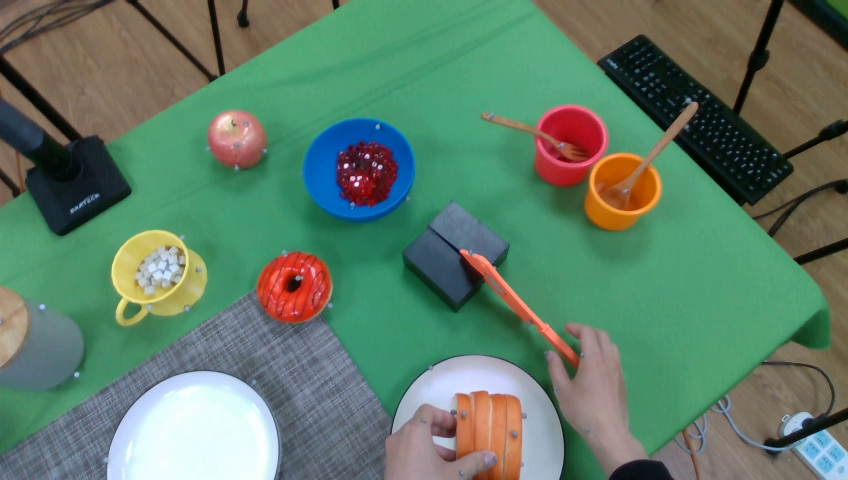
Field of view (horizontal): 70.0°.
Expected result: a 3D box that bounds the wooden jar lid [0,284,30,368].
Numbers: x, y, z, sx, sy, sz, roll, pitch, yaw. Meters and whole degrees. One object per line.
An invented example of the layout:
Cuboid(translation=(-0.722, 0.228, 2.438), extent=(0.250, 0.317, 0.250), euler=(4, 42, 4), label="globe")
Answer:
Cuboid(translation=(-0.497, 0.103, 0.684), extent=(0.108, 0.021, 0.107), euler=(-1, 69, 3), label="wooden jar lid")

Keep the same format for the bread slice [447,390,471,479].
Cuboid(translation=(0.038, 0.220, 0.682), extent=(0.018, 0.135, 0.106), euler=(2, 66, -1), label="bread slice")

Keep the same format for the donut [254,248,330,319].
Cuboid(translation=(-0.174, 0.058, 0.798), extent=(0.099, 0.048, 0.098), euler=(0, 70, 1), label="donut")

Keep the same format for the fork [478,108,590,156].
Cuboid(translation=(0.152, -0.144, 0.812), extent=(0.209, 0.018, 0.028), euler=(12, 61, -38), label="fork")

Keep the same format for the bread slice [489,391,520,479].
Cuboid(translation=(0.090, 0.223, 0.679), extent=(0.019, 0.132, 0.104), euler=(4, 71, 0), label="bread slice")

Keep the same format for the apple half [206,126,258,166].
Cuboid(translation=(-0.274, -0.123, 0.855), extent=(0.081, 0.082, 0.032), euler=(18, 66, 9), label="apple half")

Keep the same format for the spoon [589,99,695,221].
Cuboid(translation=(0.285, -0.102, 0.793), extent=(0.041, 0.194, 0.022), euler=(45, 32, 17), label="spoon")

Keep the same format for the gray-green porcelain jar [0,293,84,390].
Cuboid(translation=(-0.494, 0.125, 0.742), extent=(0.106, 0.127, 0.105), euler=(0, 69, 2), label="gray-green porcelain jar")

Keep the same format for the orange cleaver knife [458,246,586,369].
Cuboid(translation=(0.121, 0.084, 0.764), extent=(0.212, 0.077, 0.012), euler=(46, 79, -8), label="orange cleaver knife")

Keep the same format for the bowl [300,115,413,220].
Cuboid(translation=(-0.088, -0.088, 0.836), extent=(0.151, 0.077, 0.150), euler=(0, 70, 1), label="bowl")

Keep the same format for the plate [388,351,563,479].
Cuboid(translation=(0.061, 0.239, 0.731), extent=(0.209, 0.038, 0.207), euler=(0, 70, 1), label="plate")

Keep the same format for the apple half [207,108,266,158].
Cuboid(translation=(-0.261, -0.157, 0.869), extent=(0.080, 0.075, 0.053), euler=(18, 65, 12), label="apple half")

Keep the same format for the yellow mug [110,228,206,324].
Cuboid(translation=(-0.357, 0.054, 0.797), extent=(0.099, 0.064, 0.130), euler=(28, 74, 11), label="yellow mug")

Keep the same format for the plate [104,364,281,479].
Cuboid(translation=(-0.273, 0.256, 0.730), extent=(0.207, 0.039, 0.206), euler=(0, 70, 1), label="plate")
